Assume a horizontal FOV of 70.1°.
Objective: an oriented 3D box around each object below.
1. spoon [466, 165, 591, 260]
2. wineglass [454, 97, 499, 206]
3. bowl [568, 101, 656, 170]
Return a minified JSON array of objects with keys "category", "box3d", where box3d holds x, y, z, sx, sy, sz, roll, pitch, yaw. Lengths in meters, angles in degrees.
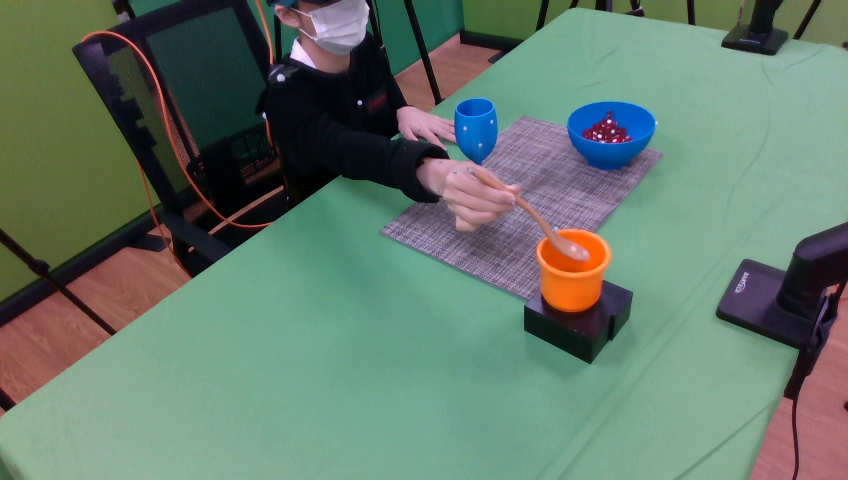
[{"category":"spoon","box3d":[0.127,-0.033,0.726,0.021,0.195,0.041,-44,18,24]},{"category":"wineglass","box3d":[0.090,-0.145,1.009,0.074,0.173,0.073,-5,40,4]},{"category":"bowl","box3d":[0.332,-0.179,1.084,0.151,0.077,0.150,-4,40,4]}]
